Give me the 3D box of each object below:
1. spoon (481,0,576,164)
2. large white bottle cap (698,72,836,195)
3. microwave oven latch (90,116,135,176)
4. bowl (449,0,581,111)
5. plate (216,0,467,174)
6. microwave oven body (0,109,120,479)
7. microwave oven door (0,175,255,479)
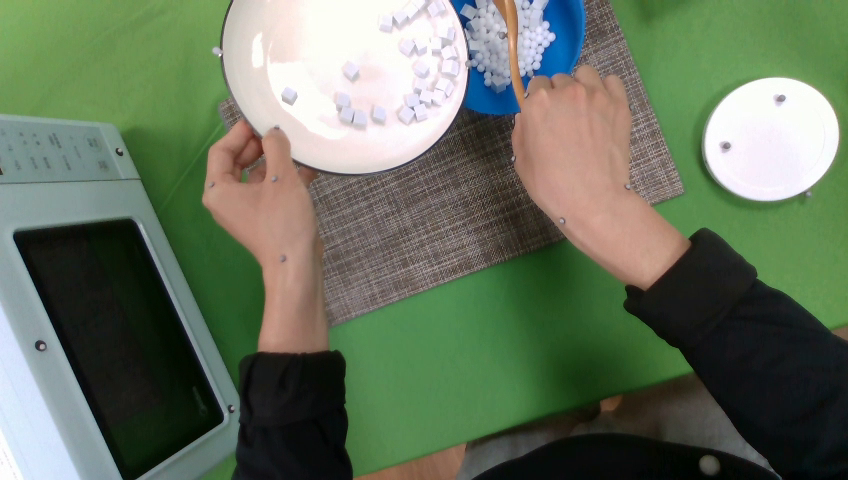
[{"bbox_3d":[0.082,-0.146,0.510,0.021,0.042,0.192,-18,76,-4],"label":"spoon"},{"bbox_3d":[0.321,-0.099,0.570,0.114,0.018,0.115,2,99,15],"label":"large white bottle cap"},{"bbox_3d":[-0.392,-0.113,0.750,0.030,0.029,0.079,-23,92,18],"label":"microwave oven latch"},{"bbox_3d":[0.079,-0.200,0.591,0.151,0.077,0.151,3,99,17],"label":"bowl"},{"bbox_3d":[-0.067,-0.156,0.524,0.210,0.038,0.208,1,84,-11],"label":"plate"},{"bbox_3d":[-0.475,0.119,0.708,0.326,0.260,0.441,-24,91,18],"label":"microwave oven body"},{"bbox_3d":[-0.332,0.100,0.658,0.039,0.244,0.355,-25,90,18],"label":"microwave oven door"}]
